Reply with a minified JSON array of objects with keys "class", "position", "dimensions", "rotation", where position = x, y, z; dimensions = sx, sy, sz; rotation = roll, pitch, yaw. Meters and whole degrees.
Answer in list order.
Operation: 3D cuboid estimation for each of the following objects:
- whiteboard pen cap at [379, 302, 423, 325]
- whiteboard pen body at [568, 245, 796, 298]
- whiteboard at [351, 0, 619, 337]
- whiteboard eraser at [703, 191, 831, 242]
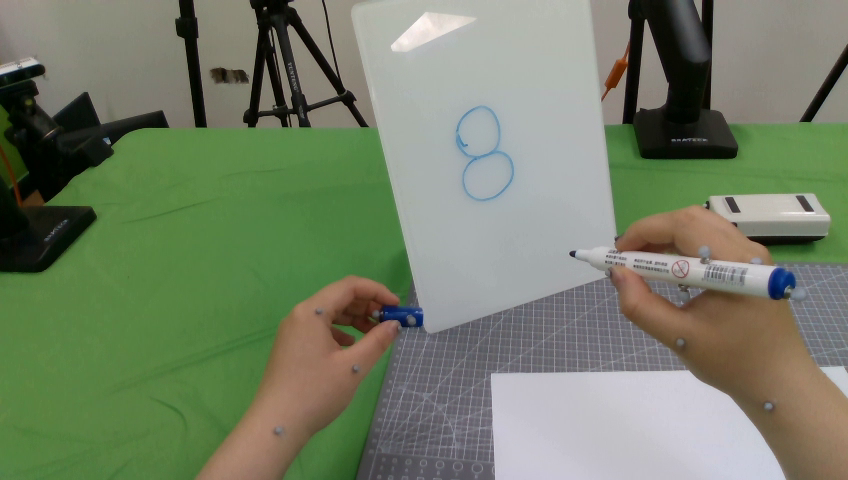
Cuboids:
[{"class":"whiteboard pen cap","position":[-0.016,0.056,0.460],"dimensions":[0.033,0.018,0.018],"rotation":[5,34,-20]},{"class":"whiteboard pen body","position":[0.130,0.014,0.334],"dimensions":[0.017,0.017,0.140],"rotation":[-28,19,-26]},{"class":"whiteboard","position":[0.056,-0.095,0.619],"dimensions":[0.217,0.307,0.142],"rotation":[-16,18,-11]},{"class":"whiteboard eraser","position":[0.365,-0.025,0.650],"dimensions":[0.112,0.042,0.055],"rotation":[0,40,7]}]
